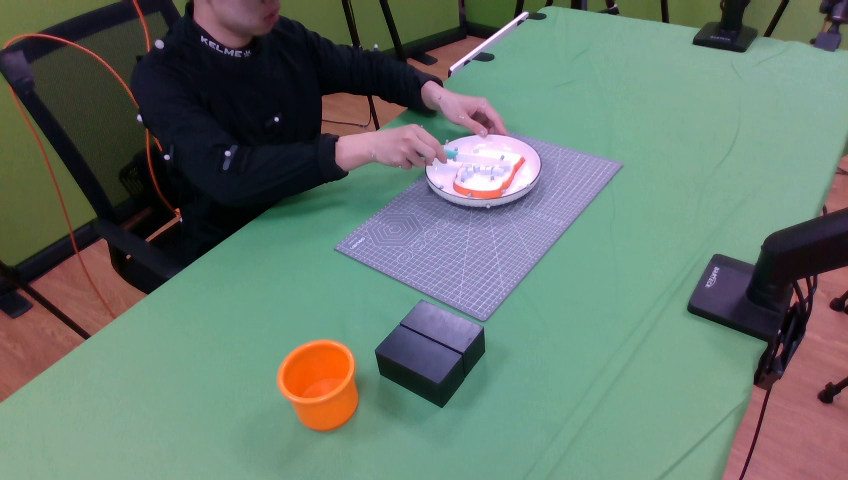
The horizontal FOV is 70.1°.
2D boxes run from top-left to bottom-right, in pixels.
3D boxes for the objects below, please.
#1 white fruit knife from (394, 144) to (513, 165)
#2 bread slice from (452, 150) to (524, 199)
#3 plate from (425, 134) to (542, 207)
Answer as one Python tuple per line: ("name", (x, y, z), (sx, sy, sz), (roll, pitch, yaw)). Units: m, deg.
("white fruit knife", (0.050, -0.146, 1.047), (0.207, 0.027, 0.016), (6, 52, 2))
("bread slice", (0.111, -0.119, 1.079), (0.104, 0.019, 0.131), (12, 43, 21))
("plate", (0.106, -0.121, 1.079), (0.209, 0.038, 0.208), (-4, 40, 4))
